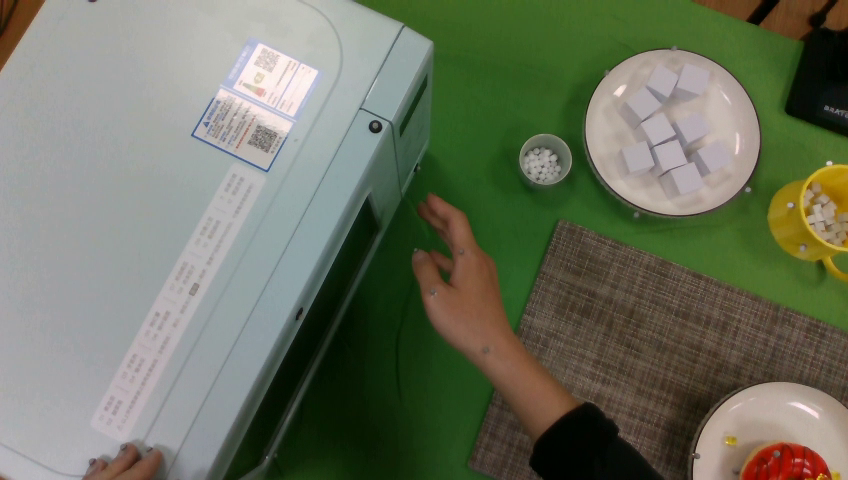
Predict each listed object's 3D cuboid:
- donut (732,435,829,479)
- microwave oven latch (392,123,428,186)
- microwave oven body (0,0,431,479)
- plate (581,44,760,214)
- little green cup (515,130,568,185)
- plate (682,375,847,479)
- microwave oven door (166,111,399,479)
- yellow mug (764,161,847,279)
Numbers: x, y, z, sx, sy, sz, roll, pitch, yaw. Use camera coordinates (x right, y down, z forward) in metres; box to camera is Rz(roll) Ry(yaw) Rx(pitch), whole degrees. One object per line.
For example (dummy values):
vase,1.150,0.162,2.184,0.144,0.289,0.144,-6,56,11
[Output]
donut,0.379,0.258,0.645,0.099,0.048,0.099,0,83,1
microwave oven latch,-0.023,-0.101,0.694,0.030,0.029,0.079,28,82,3
microwave oven body,-0.232,-0.023,0.580,0.326,0.261,0.440,25,82,3
plate,0.288,-0.130,0.723,0.208,0.039,0.207,0,81,-1
little green cup,0.135,-0.094,0.713,0.061,0.039,0.061,0,82,0
plate,0.380,0.251,0.658,0.209,0.038,0.208,0,81,-1
microwave oven door,-0.119,0.076,0.561,0.039,0.244,0.355,25,81,4
yellow mug,0.461,-0.019,0.693,0.100,0.064,0.130,-15,82,-3
